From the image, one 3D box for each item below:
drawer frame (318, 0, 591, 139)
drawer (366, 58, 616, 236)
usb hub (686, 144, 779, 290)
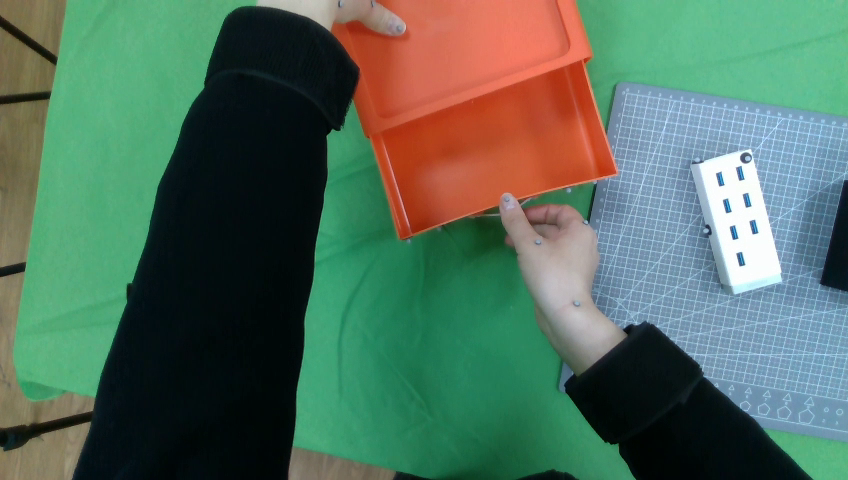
[{"bbox_3d":[0.011,-0.219,0.523,0.201,0.082,0.213,-19,93,5],"label":"drawer frame"},{"bbox_3d":[0.041,-0.129,0.535,0.194,0.073,0.212,-17,93,5],"label":"drawer"},{"bbox_3d":[0.284,-0.021,0.556,0.049,0.025,0.125,-17,95,4],"label":"usb hub"}]
